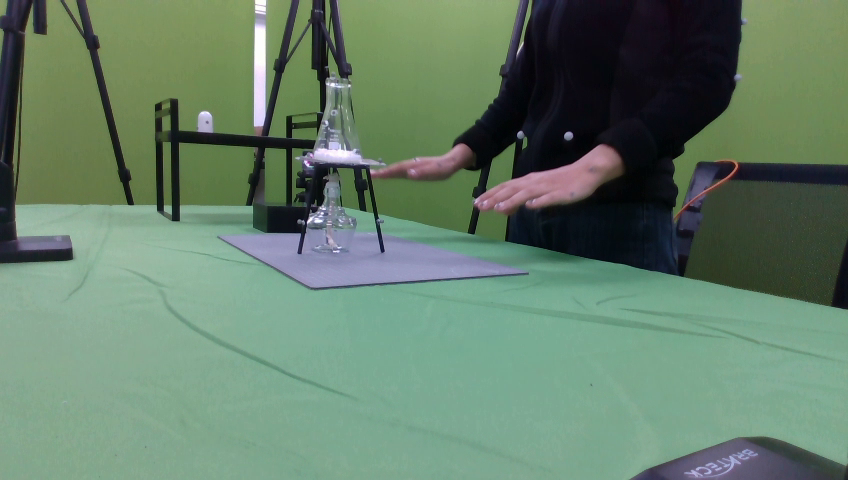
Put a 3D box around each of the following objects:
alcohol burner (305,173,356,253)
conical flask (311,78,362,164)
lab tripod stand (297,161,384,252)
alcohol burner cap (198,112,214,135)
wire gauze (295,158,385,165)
[{"bbox_3d":[-0.139,-0.041,0.898,0.078,0.119,0.078,4,8,0],"label":"alcohol burner"},{"bbox_3d":[-0.128,-0.174,0.890,0.075,0.122,0.075,3,9,0],"label":"conical flask"},{"bbox_3d":[-0.130,-0.051,0.903,0.148,0.131,0.148,3,9,0],"label":"lab tripod stand"},{"bbox_3d":[-0.459,-0.246,1.271,0.034,0.048,0.034,1,7,0],"label":"alcohol burner cap"},{"bbox_3d":[-0.128,-0.117,0.901,0.125,0.011,0.121,-2,8,-14],"label":"wire gauze"}]
